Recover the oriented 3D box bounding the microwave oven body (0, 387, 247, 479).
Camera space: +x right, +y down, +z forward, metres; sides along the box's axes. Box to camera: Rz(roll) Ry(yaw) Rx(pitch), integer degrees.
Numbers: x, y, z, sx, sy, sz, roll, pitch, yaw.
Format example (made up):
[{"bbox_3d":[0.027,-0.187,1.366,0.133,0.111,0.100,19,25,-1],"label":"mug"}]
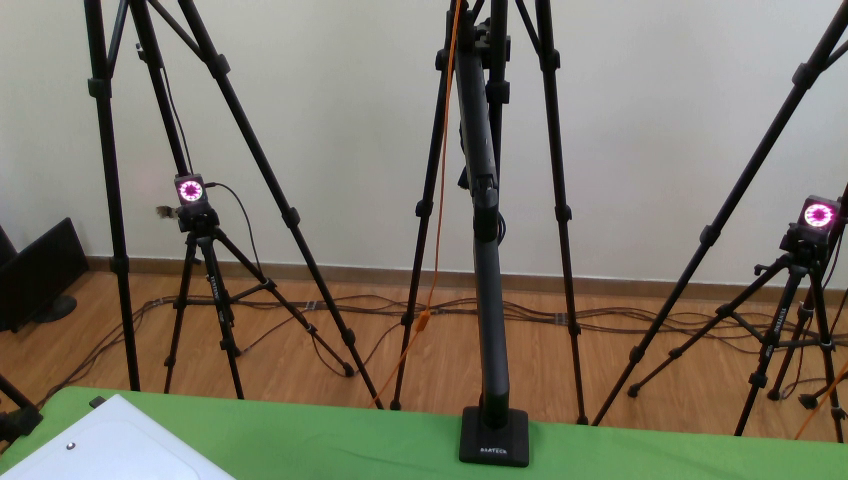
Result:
[{"bbox_3d":[-0.441,0.451,0.720,0.323,0.262,0.441,20,41,28],"label":"microwave oven body"}]
